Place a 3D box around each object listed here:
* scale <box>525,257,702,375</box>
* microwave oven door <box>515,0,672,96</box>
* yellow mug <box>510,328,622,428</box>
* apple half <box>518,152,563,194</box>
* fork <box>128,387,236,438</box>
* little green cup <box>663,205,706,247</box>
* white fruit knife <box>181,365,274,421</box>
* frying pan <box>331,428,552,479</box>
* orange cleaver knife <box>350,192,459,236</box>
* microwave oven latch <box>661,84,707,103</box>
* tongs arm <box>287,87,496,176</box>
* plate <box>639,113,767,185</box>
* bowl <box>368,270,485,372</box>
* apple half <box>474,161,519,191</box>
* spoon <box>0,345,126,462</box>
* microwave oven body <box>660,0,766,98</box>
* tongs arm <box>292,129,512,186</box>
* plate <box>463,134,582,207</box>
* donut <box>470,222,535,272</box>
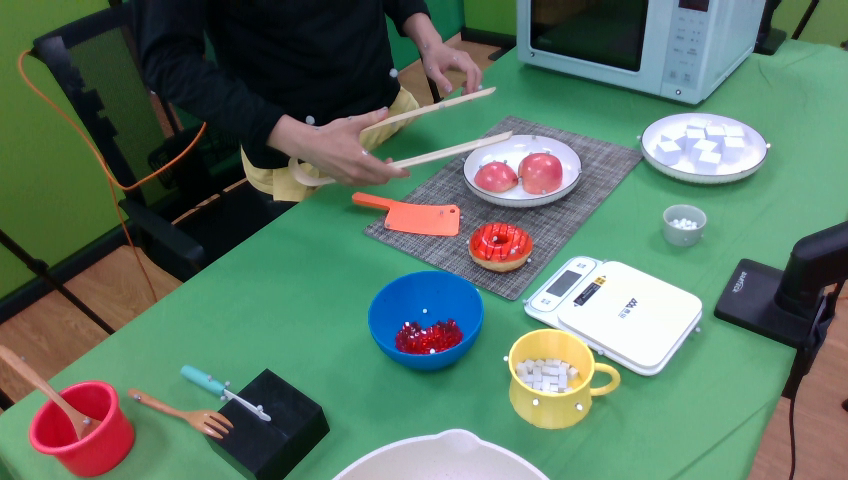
[{"bbox_3d":[0.254,0.091,0.821,0.199,0.032,0.149,28,51,35],"label":"scale"},{"bbox_3d":[0.343,-0.454,1.259,0.353,0.245,0.039,26,51,33],"label":"microwave oven door"},{"bbox_3d":[0.169,0.164,0.722,0.130,0.064,0.099,0,40,8],"label":"yellow mug"},{"bbox_3d":[0.203,-0.123,1.047,0.075,0.053,0.080,-2,41,1],"label":"apple half"},{"bbox_3d":[-0.305,0.207,0.744,0.206,0.019,0.028,3,42,36],"label":"fork"},{"bbox_3d":[0.396,-0.020,0.926,0.061,0.039,0.061,-4,40,4],"label":"little green cup"},{"bbox_3d":[-0.245,0.187,0.747,0.205,0.027,0.016,9,41,40],"label":"white fruit knife"},{"bbox_3d":[-0.089,0.306,0.564,0.487,0.103,0.306,10,41,7],"label":"frying pan"},{"bbox_3d":[-0.036,-0.044,1.028,0.210,0.012,0.077,10,49,17],"label":"orange cleaver knife"},{"bbox_3d":[0.517,-0.296,1.204,0.078,0.029,0.030,27,52,35],"label":"microwave oven latch"},{"bbox_3d":[-0.063,-0.155,0.903,0.382,0.051,0.026,-9,31,30],"label":"tongs arm"},{"bbox_3d":[0.489,-0.157,1.074,0.207,0.039,0.206,-4,40,4],"label":"plate"},{"bbox_3d":[0.007,0.118,0.791,0.151,0.077,0.150,-4,40,4],"label":"bowl"},{"bbox_3d":[0.130,-0.119,1.067,0.081,0.033,0.081,-4,36,3],"label":"apple half"},{"bbox_3d":[-0.434,0.192,0.720,0.194,0.021,0.042,47,53,-7],"label":"spoon"},{"bbox_3d":[0.472,-0.513,1.317,0.438,0.261,0.327,26,51,34],"label":"microwave oven body"},{"bbox_3d":[-0.047,-0.123,0.919,0.385,0.028,0.028,-8,34,30],"label":"tongs arm"},{"bbox_3d":[0.173,-0.119,1.070,0.209,0.038,0.208,-4,40,4],"label":"plate"},{"bbox_3d":[0.119,0.009,0.923,0.099,0.048,0.098,-3,38,3],"label":"donut"}]
